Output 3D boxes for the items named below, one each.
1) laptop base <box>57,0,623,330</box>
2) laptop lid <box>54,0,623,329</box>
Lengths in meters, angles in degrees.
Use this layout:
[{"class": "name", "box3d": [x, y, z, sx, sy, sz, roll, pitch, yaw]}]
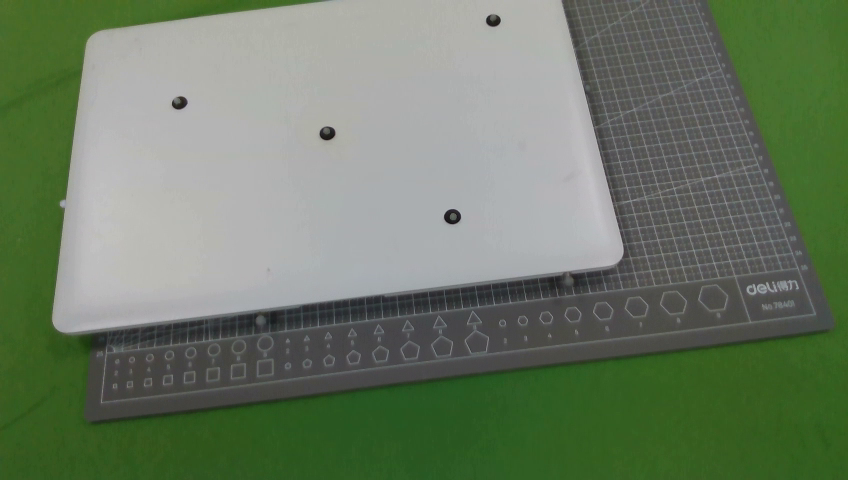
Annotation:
[{"class": "laptop base", "box3d": [-0.063, -0.070, 0.420, 0.354, 0.023, 0.233, -7, 70, -1]}, {"class": "laptop lid", "box3d": [-0.063, -0.073, 0.408, 0.357, 0.013, 0.240, -5, 69, 0]}]
